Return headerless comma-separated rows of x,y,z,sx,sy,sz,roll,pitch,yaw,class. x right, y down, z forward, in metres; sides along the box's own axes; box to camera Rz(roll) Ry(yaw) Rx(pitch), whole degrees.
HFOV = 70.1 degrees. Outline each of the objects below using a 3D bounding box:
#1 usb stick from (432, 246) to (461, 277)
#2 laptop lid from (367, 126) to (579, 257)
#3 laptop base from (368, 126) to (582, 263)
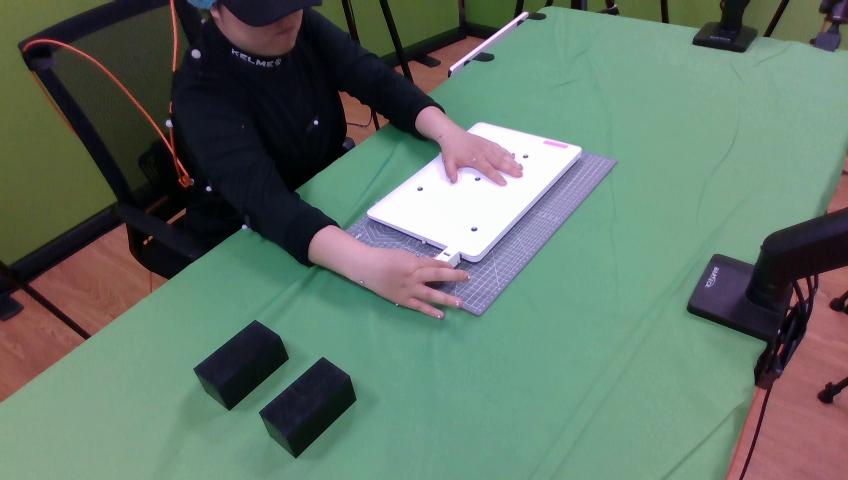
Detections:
0.038,0.029,0.911,0.021,0.027,0.059,27,44,30,usb stick
0.095,-0.103,1.067,0.239,0.013,0.358,22,47,34,laptop lid
0.097,-0.096,1.071,0.233,0.023,0.355,20,47,34,laptop base
